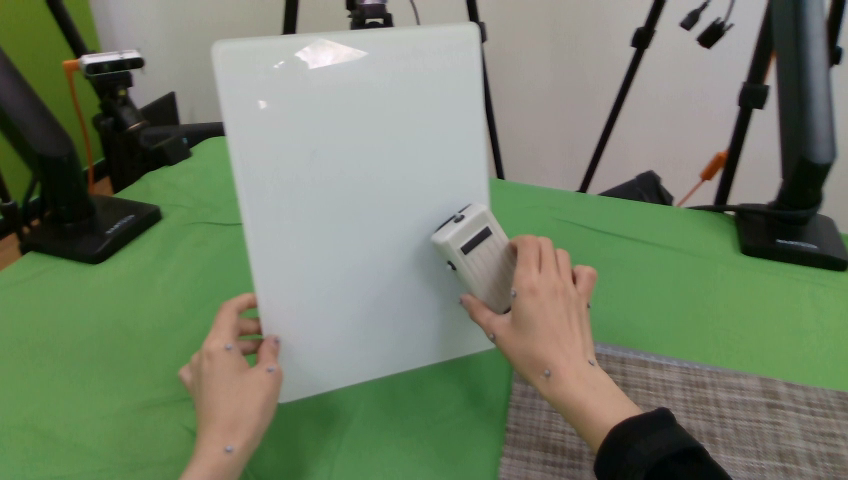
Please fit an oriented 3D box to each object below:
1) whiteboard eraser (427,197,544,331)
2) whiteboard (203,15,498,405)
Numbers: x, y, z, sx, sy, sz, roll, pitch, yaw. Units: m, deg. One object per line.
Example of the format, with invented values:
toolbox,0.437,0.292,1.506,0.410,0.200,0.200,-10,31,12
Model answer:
whiteboard eraser,0.053,0.021,0.528,0.055,0.113,0.041,-41,20,-14
whiteboard,-0.066,-0.038,0.578,0.218,0.307,0.142,-11,16,-17
